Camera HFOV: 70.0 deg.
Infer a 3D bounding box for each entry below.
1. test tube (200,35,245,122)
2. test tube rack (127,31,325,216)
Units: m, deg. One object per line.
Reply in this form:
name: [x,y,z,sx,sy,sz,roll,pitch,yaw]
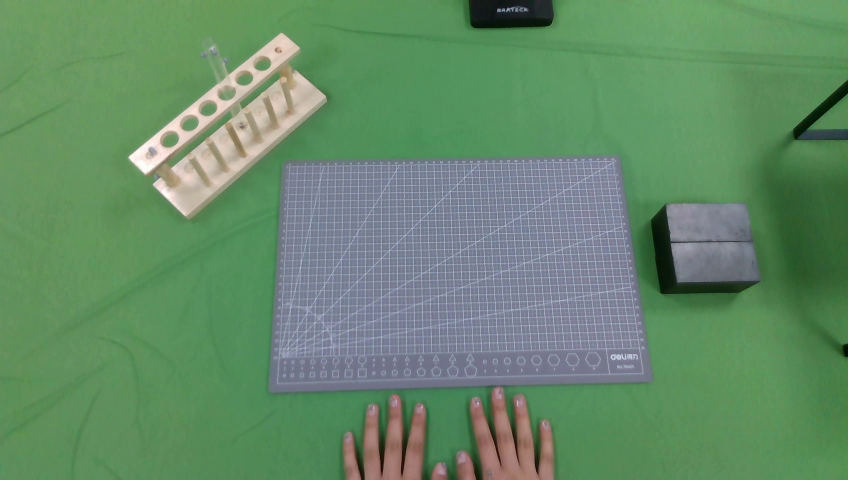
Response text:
test tube: [-0.241,-0.190,0.732,0.017,0.151,0.017,1,66,-1]
test tube rack: [-0.241,-0.148,0.769,0.066,0.085,0.242,41,75,13]
